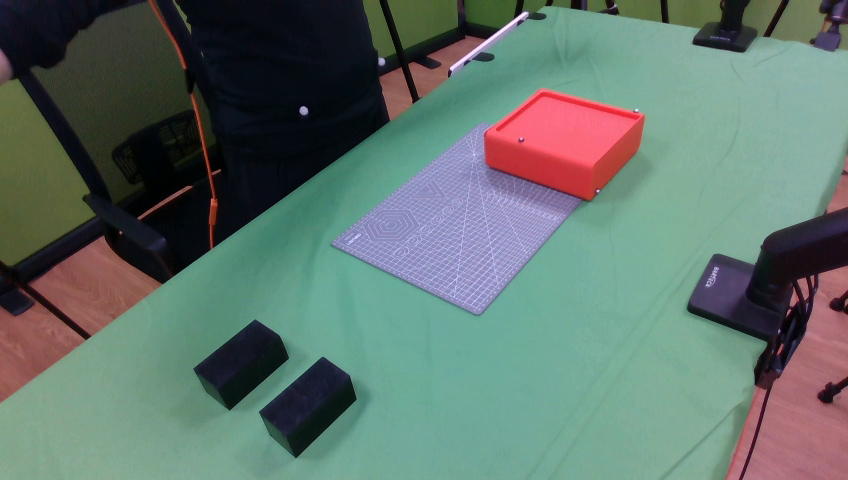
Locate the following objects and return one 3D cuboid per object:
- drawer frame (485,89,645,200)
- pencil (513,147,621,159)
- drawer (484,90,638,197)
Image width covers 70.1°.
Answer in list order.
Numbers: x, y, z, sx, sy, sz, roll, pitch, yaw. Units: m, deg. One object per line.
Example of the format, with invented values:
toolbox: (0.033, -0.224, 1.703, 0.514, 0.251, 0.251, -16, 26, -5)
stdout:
drawer frame: (0.253, -0.180, 1.094, 0.212, 0.083, 0.202, 24, 48, 31)
pencil: (0.259, -0.157, 1.101, 0.194, 0.012, 0.012, -4, 40, 3)
drawer: (0.247, -0.180, 1.097, 0.210, 0.073, 0.195, 25, 49, 31)
